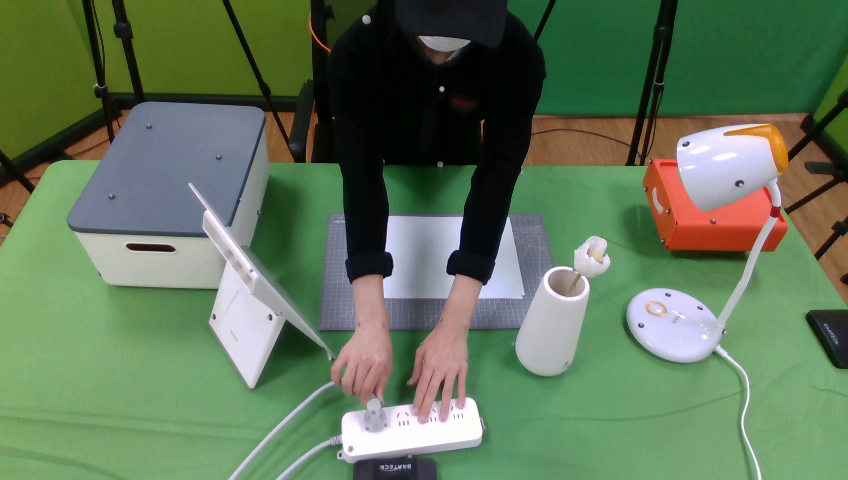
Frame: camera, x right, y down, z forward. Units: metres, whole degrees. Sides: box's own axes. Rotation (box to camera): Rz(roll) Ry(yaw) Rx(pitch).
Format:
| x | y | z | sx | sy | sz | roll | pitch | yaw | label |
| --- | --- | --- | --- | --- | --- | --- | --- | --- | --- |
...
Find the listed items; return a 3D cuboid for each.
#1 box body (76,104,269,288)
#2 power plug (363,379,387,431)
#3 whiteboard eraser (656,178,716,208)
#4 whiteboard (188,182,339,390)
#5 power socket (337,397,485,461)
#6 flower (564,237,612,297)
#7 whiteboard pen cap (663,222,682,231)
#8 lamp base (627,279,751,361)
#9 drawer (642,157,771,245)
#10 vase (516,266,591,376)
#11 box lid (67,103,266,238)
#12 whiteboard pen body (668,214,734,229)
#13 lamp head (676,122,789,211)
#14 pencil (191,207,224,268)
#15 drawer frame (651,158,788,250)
| x | y | z | sx | sy | sz | roll | pitch | yaw | label |
| --- | --- | --- | --- | --- | --- | --- | --- | --- | --- |
| -0.450 | -0.087 | 1.149 | 0.254 | 0.161 | 0.361 | 2 | 46 | -2 | box body |
| -0.071 | 0.252 | 0.910 | 0.035 | 0.053 | 0.072 | 4 | 46 | -1 | power plug |
| 0.538 | -0.095 | 1.251 | 0.113 | 0.042 | 0.055 | 4 | 52 | -10 | whiteboard eraser |
| -0.292 | 0.096 | 0.929 | 0.144 | 0.307 | 0.216 | -38 | 57 | -10 | whiteboard |
| -0.017 | 0.285 | 0.915 | 0.227 | 0.033 | 0.071 | -4 | 46 | -8 | power socket |
| 0.206 | 0.088 | 0.892 | 0.038 | 0.363 | 0.044 | -16 | 67 | -9 | flower |
| 0.488 | -0.027 | 1.188 | 0.033 | 0.018 | 0.018 | -1 | 46 | -13 | whiteboard pen cap |
| 0.459 | 0.100 | 1.027 | 0.178 | 0.181 | 0.160 | 27 | 51 | 17 | lamp base |
| 0.565 | -0.075 | 1.210 | 0.212 | 0.073 | 0.193 | 3 | 45 | -1 | drawer |
| 0.208 | 0.132 | 0.964 | 0.098 | 0.201 | 0.097 | 3 | 46 | -3 | vase |
| -0.447 | -0.137 | 1.093 | 0.263 | 0.015 | 0.369 | 2 | 45 | -2 | box lid |
| 0.547 | -0.035 | 1.200 | 0.141 | 0.017 | 0.017 | -8 | 48 | -9 | whiteboard pen body |
| 0.423 | -0.104 | 0.819 | 0.122 | 0.113 | 0.112 | -13 | 33 | 40 | lamp head |
| -0.419 | -0.010 | 1.185 | 0.012 | 0.012 | 0.193 | 4 | 38 | -1 | pencil |
| 0.571 | -0.074 | 1.213 | 0.214 | 0.083 | 0.200 | 1 | 46 | 0 | drawer frame |
